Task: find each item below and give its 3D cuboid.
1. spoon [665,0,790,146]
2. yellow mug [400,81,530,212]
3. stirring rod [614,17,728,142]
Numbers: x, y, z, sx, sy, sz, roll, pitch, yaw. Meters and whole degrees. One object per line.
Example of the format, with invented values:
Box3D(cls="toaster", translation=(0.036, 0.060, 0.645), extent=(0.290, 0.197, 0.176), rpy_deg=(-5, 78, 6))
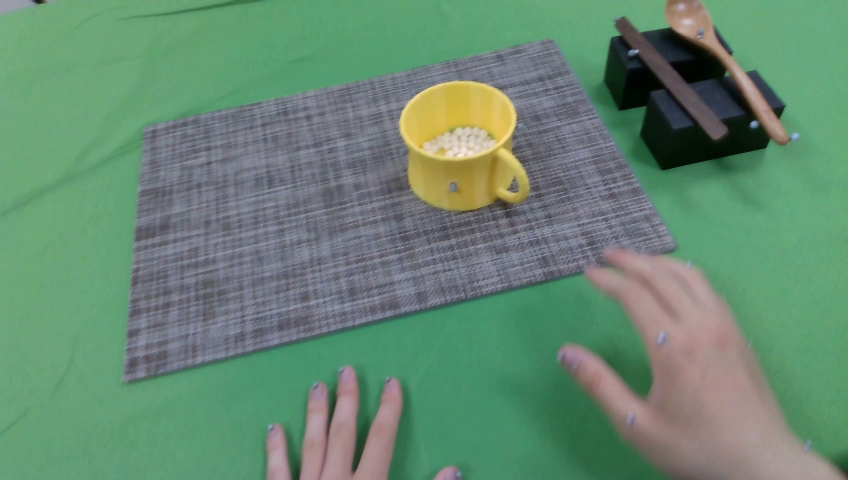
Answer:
Box3D(cls="spoon", translation=(0.267, -0.155, 0.536), extent=(0.041, 0.022, 0.191), rpy_deg=(-12, 55, -5))
Box3D(cls="yellow mug", translation=(0.043, -0.076, 0.531), extent=(0.100, 0.064, 0.129), rpy_deg=(-40, 60, -21))
Box3D(cls="stirring rod", translation=(0.215, -0.148, 0.539), extent=(0.014, 0.006, 0.174), rpy_deg=(-40, 50, 24))
